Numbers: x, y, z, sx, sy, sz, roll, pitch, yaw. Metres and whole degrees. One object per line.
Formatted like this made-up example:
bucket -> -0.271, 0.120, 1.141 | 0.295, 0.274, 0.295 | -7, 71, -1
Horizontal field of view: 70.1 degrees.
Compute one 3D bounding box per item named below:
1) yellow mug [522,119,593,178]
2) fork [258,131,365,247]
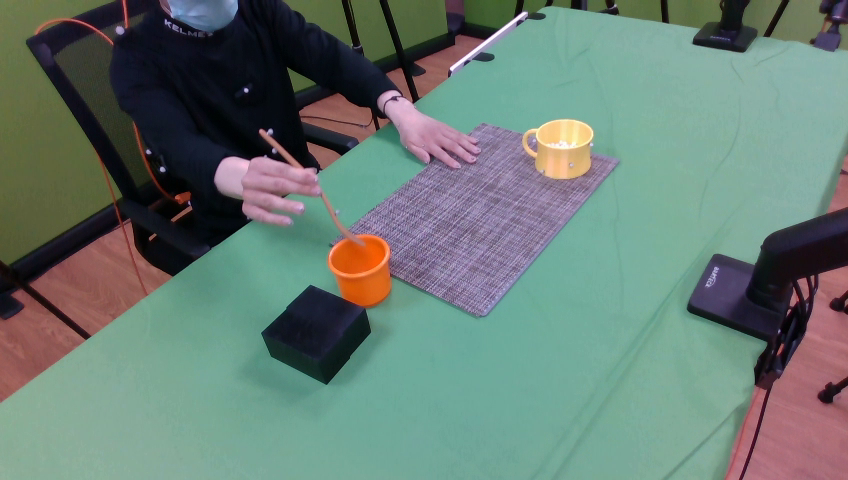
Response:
yellow mug -> 0.237, -0.170, 1.092 | 0.130, 0.064, 0.100 | 17, 47, 27
fork -> -0.148, -0.065, 0.810 | 0.018, 0.208, 0.028 | -35, 22, 5
